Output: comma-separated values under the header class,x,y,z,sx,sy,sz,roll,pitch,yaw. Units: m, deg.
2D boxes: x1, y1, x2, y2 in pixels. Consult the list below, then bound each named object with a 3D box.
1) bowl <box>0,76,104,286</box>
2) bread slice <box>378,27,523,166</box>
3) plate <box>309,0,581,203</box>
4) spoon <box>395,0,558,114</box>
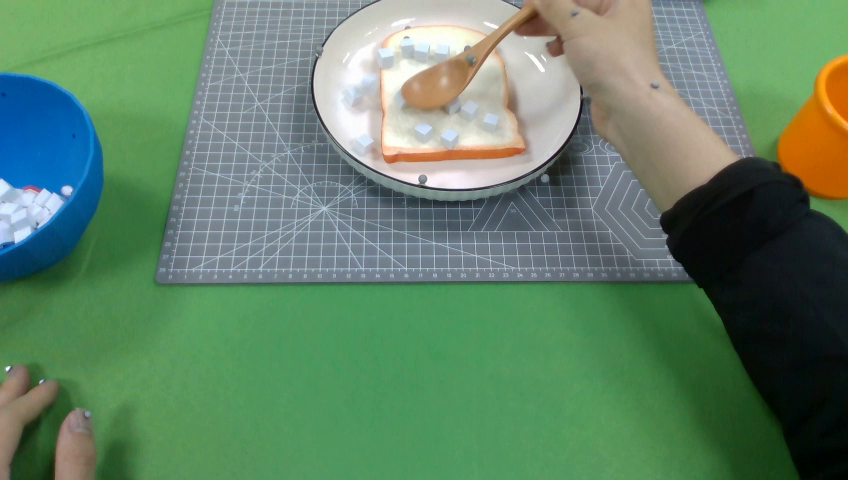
class,x,y,z,sx,sy,sz,roll,pitch,yaw
bowl,-0.278,-0.025,0.397,0.151,0.077,0.150,1,60,-2
bread slice,0.012,-0.117,0.484,0.107,0.018,0.133,-7,63,-5
plate,0.015,-0.114,0.479,0.209,0.038,0.207,1,61,-2
spoon,0.061,-0.152,0.441,0.194,0.022,0.041,-37,55,5
